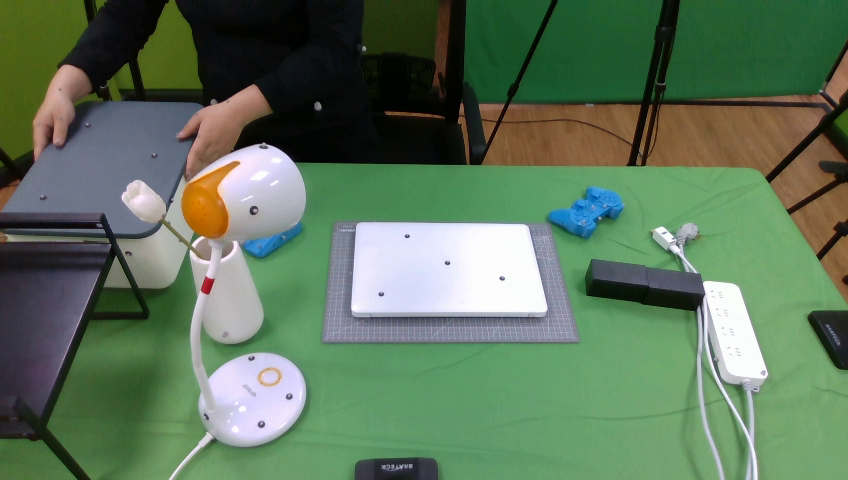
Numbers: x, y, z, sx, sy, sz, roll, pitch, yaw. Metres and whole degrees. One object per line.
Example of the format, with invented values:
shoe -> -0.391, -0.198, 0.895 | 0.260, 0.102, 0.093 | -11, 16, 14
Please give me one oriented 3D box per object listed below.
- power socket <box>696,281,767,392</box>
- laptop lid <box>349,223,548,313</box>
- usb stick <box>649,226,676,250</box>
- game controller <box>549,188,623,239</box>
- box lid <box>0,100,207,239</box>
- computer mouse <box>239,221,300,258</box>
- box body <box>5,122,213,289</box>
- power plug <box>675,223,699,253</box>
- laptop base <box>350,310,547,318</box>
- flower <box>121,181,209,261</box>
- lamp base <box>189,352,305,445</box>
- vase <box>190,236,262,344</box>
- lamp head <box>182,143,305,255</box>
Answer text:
power socket -> 0.543, 0.161, 1.077 | 0.072, 0.033, 0.225 | 6, 46, 2
laptop lid -> 0.042, 0.046, 1.142 | 0.357, 0.013, 0.240 | 2, 44, -3
usb stick -> 0.485, -0.008, 1.237 | 0.021, 0.027, 0.059 | -21, 44, -14
game controller -> 0.345, -0.065, 1.272 | 0.155, 0.052, 0.096 | -31, 58, -29
box lid -> -0.559, -0.138, 1.084 | 0.263, 0.015, 0.369 | 2, 46, -2
computer mouse -> -0.300, -0.016, 1.178 | 0.062, 0.041, 0.117 | 35, 57, 22
box body -> -0.564, -0.088, 1.140 | 0.254, 0.161, 0.361 | 2, 46, -3
power plug -> 0.537, 0.000, 1.243 | 0.053, 0.035, 0.072 | 19, 81, -17
laptop base -> 0.041, 0.056, 1.149 | 0.355, 0.023, 0.234 | 0, 43, -4
flower -> -0.329, 0.029, 0.905 | 0.038, 0.364, 0.044 | -22, 58, -1
lamp base -> -0.268, 0.196, 0.876 | 0.160, 0.181, 0.179 | 25, 52, 20
vase -> -0.317, 0.081, 0.971 | 0.098, 0.201, 0.097 | 3, 47, -3
lamp head -> -0.216, -0.044, 0.697 | 0.112, 0.113, 0.123 | 23, 31, 17
